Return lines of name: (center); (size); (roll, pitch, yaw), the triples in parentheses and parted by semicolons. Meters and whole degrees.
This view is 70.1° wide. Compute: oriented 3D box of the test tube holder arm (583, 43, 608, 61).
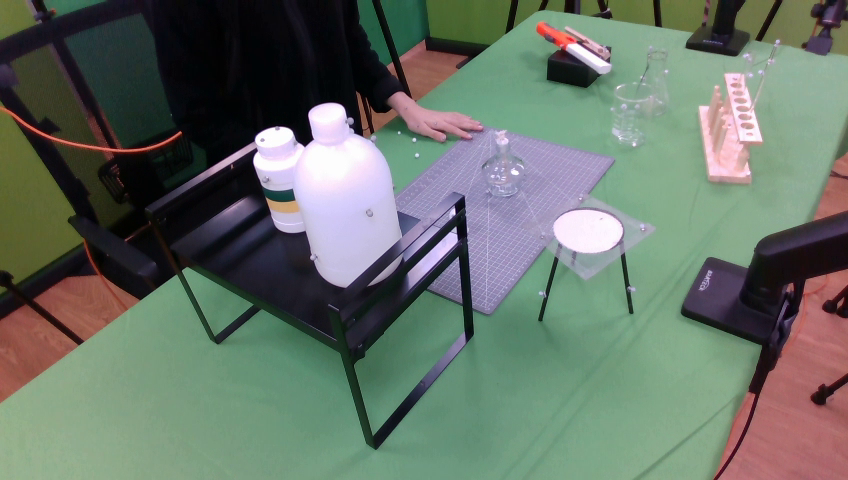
test tube holder arm: (0.379, -0.421, 1.341); (0.010, 0.015, 0.087); (-39, 41, 10)

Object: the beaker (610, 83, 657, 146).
beaker: (0.388, -0.235, 1.138); (0.074, 0.101, 0.083); (-31, 45, -26)

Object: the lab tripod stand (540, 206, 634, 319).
lab tripod stand: (0.218, 0.034, 0.821); (0.148, 0.132, 0.147); (-4, 42, 4)

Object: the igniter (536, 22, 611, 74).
igniter: (0.329, -0.438, 1.366); (0.057, 0.025, 0.274); (-11, 41, -19)

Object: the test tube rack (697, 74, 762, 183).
test tube rack: (0.547, -0.208, 1.095); (0.066, 0.085, 0.242); (5, 42, 15)

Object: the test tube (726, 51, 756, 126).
test tube: (0.568, -0.268, 1.086); (0.017, 0.151, 0.017); (-4, 46, 4)

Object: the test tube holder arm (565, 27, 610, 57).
test tube holder arm: (0.369, -0.451, 1.373); (0.013, 0.015, 0.177); (-39, 41, 10)

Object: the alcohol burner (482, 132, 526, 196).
alcohol burner: (0.137, -0.136, 1.042); (0.078, 0.119, 0.077); (-4, 43, 4)

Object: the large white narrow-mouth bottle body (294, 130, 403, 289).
large white narrow-mouth bottle body: (-0.082, -0.047, 0.634); (0.102, 0.195, 0.101); (-4, 40, 3)

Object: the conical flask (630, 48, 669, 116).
conical flask: (0.456, -0.317, 1.205); (0.075, 0.122, 0.075); (-4, 41, 4)

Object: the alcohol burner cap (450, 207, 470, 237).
alcohol burner cap: (0.057, -0.032, 0.987); (0.034, 0.048, 0.033); (-4, 41, 4)

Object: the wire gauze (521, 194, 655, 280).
wire gauze: (0.207, -0.012, 0.772); (0.122, 0.011, 0.124); (-28, 44, -20)

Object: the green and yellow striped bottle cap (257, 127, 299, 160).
green and yellow striped bottle cap: (-0.169, -0.112, 0.699); (0.045, 0.020, 0.045); (-5, 40, 5)

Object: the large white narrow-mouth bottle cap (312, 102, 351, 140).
large white narrow-mouth bottle cap: (-0.089, -0.114, 0.579); (0.038, 0.024, 0.037); (-3, 39, 3)

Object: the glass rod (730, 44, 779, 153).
glass rod: (0.555, -0.233, 1.020); (0.008, 0.200, 0.008); (2, 39, -1)

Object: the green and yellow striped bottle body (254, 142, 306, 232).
green and yellow striped bottle body: (-0.165, -0.073, 0.732); (0.063, 0.120, 0.063); (-4, 41, 4)
